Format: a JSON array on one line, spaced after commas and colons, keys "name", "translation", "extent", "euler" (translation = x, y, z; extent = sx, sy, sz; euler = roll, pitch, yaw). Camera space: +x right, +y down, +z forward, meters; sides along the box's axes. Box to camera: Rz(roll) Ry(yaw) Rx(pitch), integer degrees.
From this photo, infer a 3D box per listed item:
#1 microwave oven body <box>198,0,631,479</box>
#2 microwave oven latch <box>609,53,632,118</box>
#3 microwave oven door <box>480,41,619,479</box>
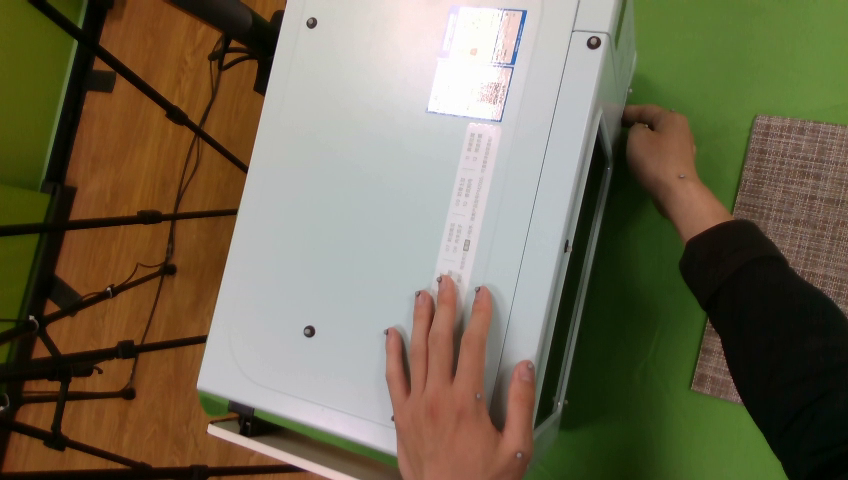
[{"name": "microwave oven body", "translation": [0.003, -0.034, 0.626], "extent": [0.324, 0.262, 0.441], "euler": [12, 88, 20]}, {"name": "microwave oven latch", "translation": [0.209, -0.168, 0.672], "extent": [0.030, 0.030, 0.079], "euler": [16, 90, 21]}, {"name": "microwave oven door", "translation": [0.126, 0.033, 0.568], "extent": [0.039, 0.245, 0.355], "euler": [11, 87, 21]}]
